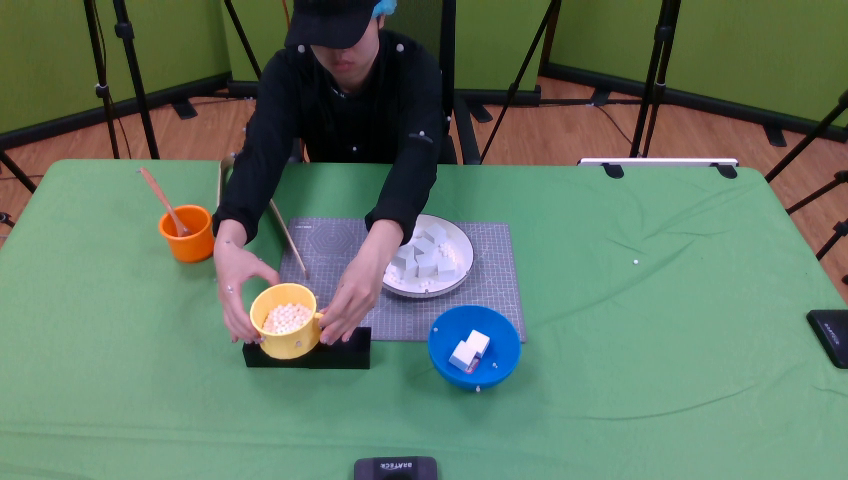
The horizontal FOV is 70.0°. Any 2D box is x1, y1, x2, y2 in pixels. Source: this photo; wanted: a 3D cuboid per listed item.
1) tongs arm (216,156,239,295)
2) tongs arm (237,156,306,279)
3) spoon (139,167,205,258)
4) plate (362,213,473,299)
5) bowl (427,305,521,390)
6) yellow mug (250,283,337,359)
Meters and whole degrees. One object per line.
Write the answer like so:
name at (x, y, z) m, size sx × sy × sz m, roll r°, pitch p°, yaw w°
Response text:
tongs arm at (-0.387, -0.043, 1.201) m, size 0.051 × 0.026 × 0.382 m, roll -9°, pitch 46°, yaw -12°
tongs arm at (-0.309, -0.058, 1.224) m, size 0.028 × 0.028 × 0.385 m, roll -22°, pitch 50°, yaw -18°
spoon at (-0.467, -0.051, 1.122) m, size 0.041 × 0.194 × 0.021 m, roll -35°, pitch 13°, yaw -32°
plate at (-0.013, 0.033, 1.149) m, size 0.208 × 0.039 × 0.206 m, roll 2°, pitch 47°, yaw -2°
bowl at (0.076, 0.188, 0.985) m, size 0.151 × 0.077 × 0.150 m, roll 3°, pitch 46°, yaw -3°
yellow mug at (-0.199, 0.127, 0.942) m, size 0.131 × 0.064 × 0.099 m, roll 6°, pitch 47°, yaw 5°
